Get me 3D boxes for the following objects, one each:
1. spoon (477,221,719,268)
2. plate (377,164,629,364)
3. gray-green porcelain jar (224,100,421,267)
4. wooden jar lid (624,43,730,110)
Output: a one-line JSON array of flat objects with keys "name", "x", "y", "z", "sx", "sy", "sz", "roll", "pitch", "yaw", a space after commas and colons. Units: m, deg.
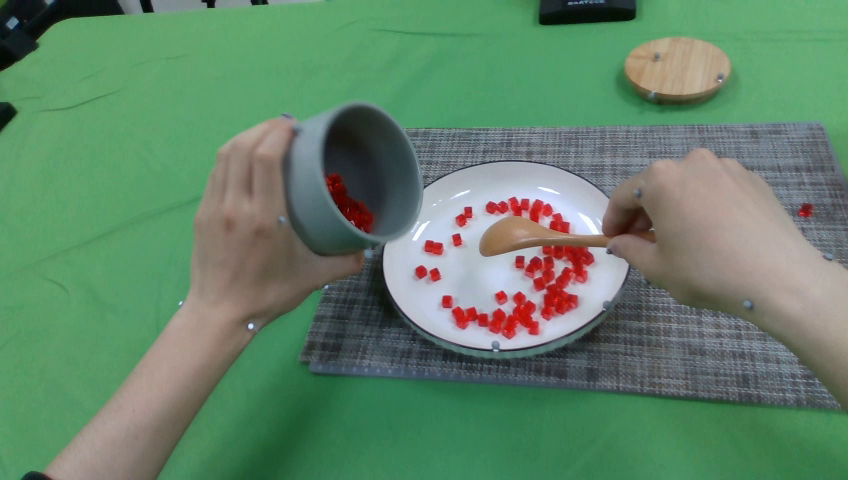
[{"name": "spoon", "x": 0.113, "y": 0.000, "z": 0.438, "sx": 0.192, "sy": 0.022, "sz": 0.041, "roll": -3, "pitch": 58, "yaw": 41}, {"name": "plate", "x": 0.065, "y": 0.019, "z": 0.518, "sx": 0.207, "sy": 0.039, "sz": 0.205, "roll": -6, "pitch": 49, "yaw": 7}, {"name": "gray-green porcelain jar", "x": -0.084, "y": -0.037, "z": 0.469, "sx": 0.126, "sy": 0.107, "sz": 0.105, "roll": -14, "pitch": 40, "yaw": 41}, {"name": "wooden jar lid", "x": 0.275, "y": -0.178, "z": 0.664, "sx": 0.108, "sy": 0.021, "sz": 0.107, "roll": -5, "pitch": 50, "yaw": 7}]
